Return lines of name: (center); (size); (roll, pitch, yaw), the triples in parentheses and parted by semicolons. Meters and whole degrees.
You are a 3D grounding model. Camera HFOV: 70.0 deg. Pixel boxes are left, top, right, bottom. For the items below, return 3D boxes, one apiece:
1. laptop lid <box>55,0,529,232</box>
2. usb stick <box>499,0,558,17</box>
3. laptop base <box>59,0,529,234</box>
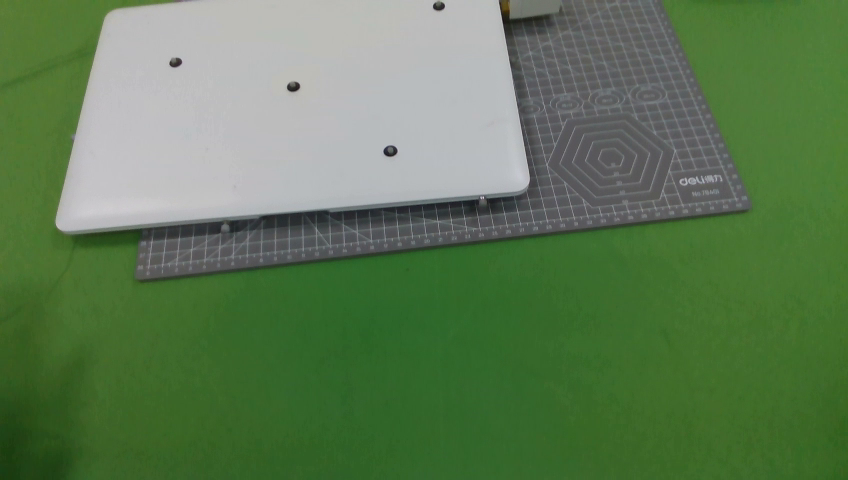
laptop lid: (-0.105, -0.123, 0.492); (0.357, 0.013, 0.239); (-4, 63, 1)
usb stick: (0.087, -0.213, 0.530); (0.059, 0.027, 0.021); (-7, 62, 5)
laptop base: (-0.104, -0.119, 0.503); (0.354, 0.023, 0.233); (-5, 64, 0)
